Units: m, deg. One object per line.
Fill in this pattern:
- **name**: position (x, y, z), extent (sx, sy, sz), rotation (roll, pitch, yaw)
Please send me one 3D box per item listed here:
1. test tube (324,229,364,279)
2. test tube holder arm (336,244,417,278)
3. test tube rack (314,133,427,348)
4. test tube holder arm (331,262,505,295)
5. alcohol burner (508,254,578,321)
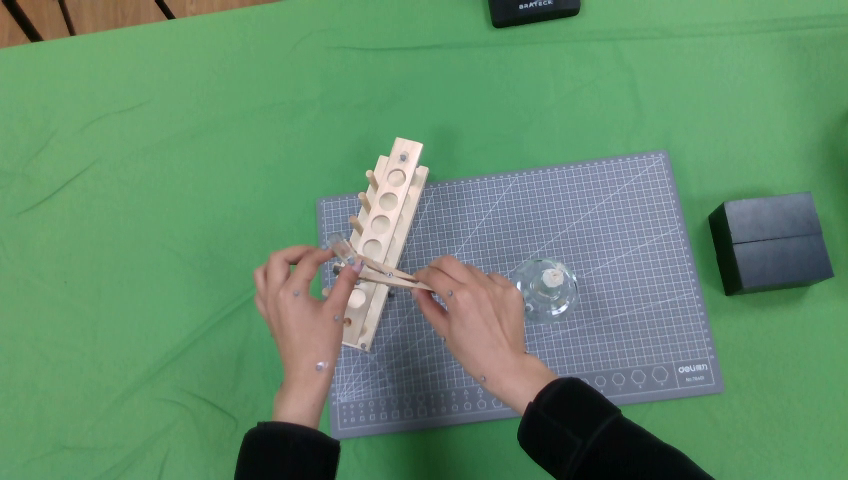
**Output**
- **test tube**: position (-0.075, 0.020, 0.616), extent (0.017, 0.151, 0.017), rotation (-2, 72, 6)
- **test tube holder arm**: position (-0.048, 0.024, 0.619), extent (0.087, 0.015, 0.010), rotation (20, 72, 15)
- **test tube rack**: position (-0.067, -0.002, 0.715), extent (0.066, 0.085, 0.241), rotation (16, 77, 9)
- **test tube holder arm**: position (-0.007, 0.039, 0.608), extent (0.178, 0.015, 0.013), rotation (8, 70, 11)
- **alcohol burner**: position (0.134, 0.048, 0.671), extent (0.078, 0.120, 0.077), rotation (-1, 73, 2)
